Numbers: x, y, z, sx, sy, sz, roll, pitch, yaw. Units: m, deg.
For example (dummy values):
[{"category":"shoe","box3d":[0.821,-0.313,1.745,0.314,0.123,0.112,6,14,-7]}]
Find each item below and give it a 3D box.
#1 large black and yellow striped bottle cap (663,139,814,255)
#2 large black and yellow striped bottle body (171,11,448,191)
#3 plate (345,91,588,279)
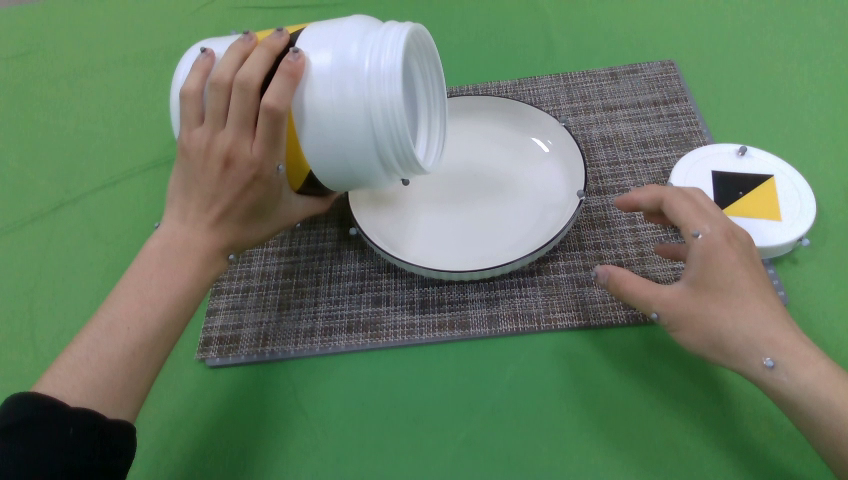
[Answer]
[{"category":"large black and yellow striped bottle cap","box3d":[0.260,-0.038,0.503,0.115,0.019,0.114,-1,55,2]},{"category":"large black and yellow striped bottle body","box3d":[-0.083,-0.106,0.477,0.183,0.132,0.129,-1,53,18]},{"category":"plate","box3d":[0.036,-0.049,0.531,0.207,0.039,0.205,-4,53,5]}]
